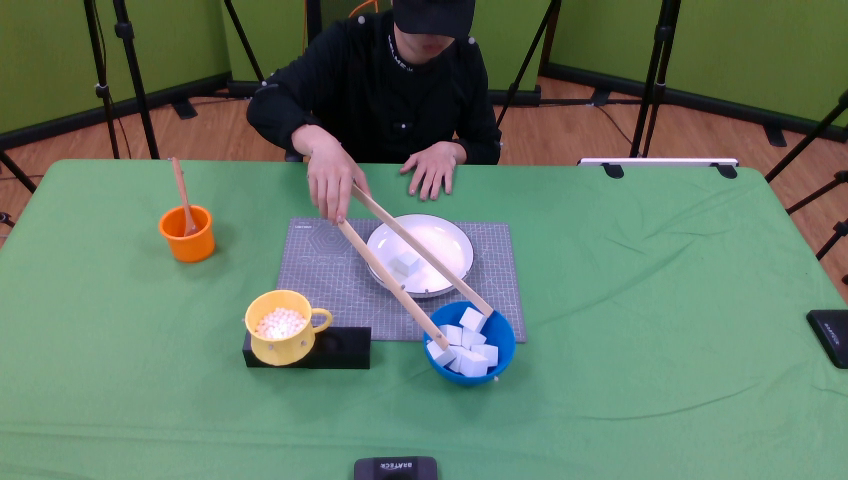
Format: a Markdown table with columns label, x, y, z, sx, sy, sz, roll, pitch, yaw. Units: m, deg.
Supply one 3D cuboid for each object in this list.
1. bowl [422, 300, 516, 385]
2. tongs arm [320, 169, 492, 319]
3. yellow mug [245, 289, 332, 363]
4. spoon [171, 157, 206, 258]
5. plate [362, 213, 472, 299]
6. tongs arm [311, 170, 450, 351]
| label | x | y | z | sx | sy | sz | roll | pitch | yaw |
| --- | --- | --- | --- | --- | --- | --- | --- | --- | --- |
| bowl | 0.069 | 0.181 | 0.990 | 0.151 | 0.077 | 0.150 | 3 | 46 | -2 |
| tongs arm | -0.034 | 0.002 | 1.037 | 0.386 | 0.028 | 0.028 | 41 | 51 | 13 |
| yellow mug | -0.210 | 0.132 | 0.954 | 0.131 | 0.064 | 0.099 | -9 | 48 | -14 |
| spoon | -0.444 | -0.061 | 1.133 | 0.042 | 0.193 | 0.021 | -12 | 4 | -20 |
| plate | -0.013 | 0.034 | 1.150 | 0.208 | 0.039 | 0.206 | 2 | 46 | -2 |
| tongs arm | -0.075 | 0.024 | 0.997 | 0.051 | 0.026 | 0.383 | -28 | 66 | -38 |
